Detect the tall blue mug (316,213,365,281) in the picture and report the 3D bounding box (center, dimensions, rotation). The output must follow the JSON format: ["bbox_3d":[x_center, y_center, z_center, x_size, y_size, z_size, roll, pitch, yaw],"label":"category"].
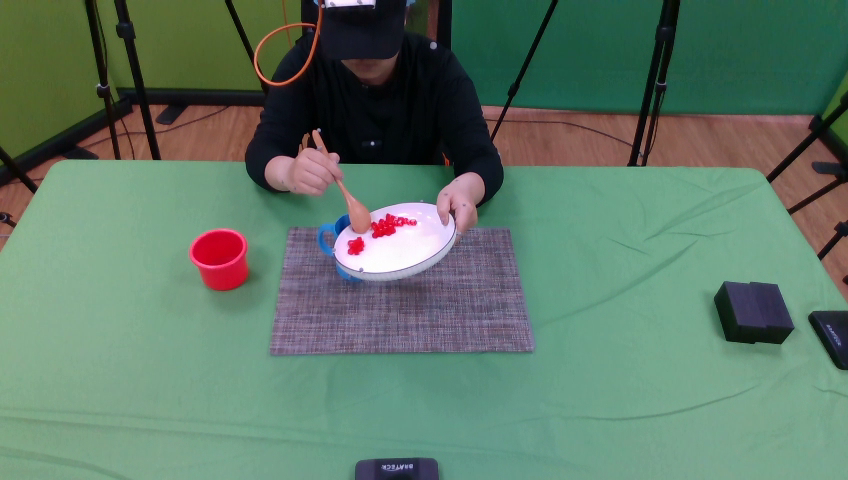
[{"bbox_3d":[-0.141,0.014,1.109,0.107,0.108,0.077,-4,48,-9],"label":"tall blue mug"}]

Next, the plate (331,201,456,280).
[{"bbox_3d":[-0.048,0.005,0.999,0.207,0.039,0.206,-10,32,6],"label":"plate"}]

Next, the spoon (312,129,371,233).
[{"bbox_3d":[-0.144,-0.099,1.033,0.041,0.194,0.021,-34,12,-27],"label":"spoon"}]
